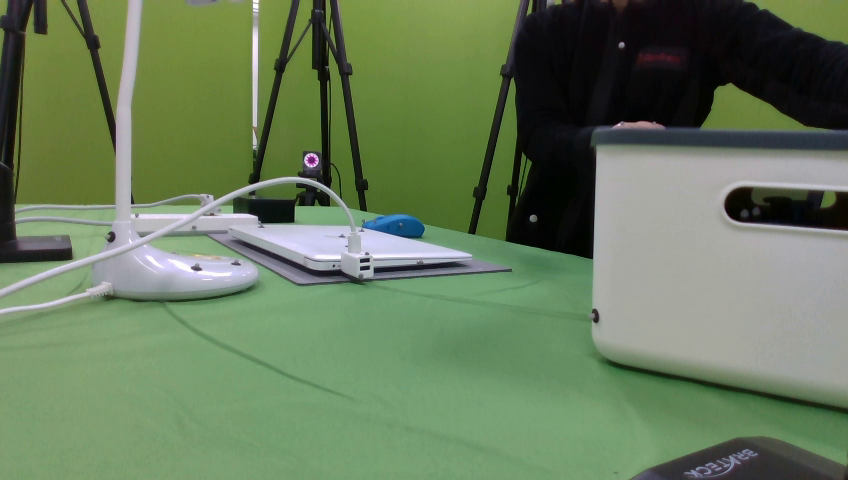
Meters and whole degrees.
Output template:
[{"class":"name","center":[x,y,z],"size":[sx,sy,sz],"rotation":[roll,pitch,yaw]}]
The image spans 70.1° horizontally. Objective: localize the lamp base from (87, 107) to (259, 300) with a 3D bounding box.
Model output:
[{"class":"lamp base","center":[-0.254,-0.039,0.603],"size":[0.160,0.180,0.179],"rotation":[5,10,18]}]

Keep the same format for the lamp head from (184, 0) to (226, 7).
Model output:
[{"class":"lamp head","center":[-0.229,-0.320,0.627],"size":[0.112,0.112,0.123],"rotation":[6,-35,26]}]

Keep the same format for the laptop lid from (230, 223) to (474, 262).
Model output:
[{"class":"laptop lid","center":[-0.121,0.000,0.888],"size":[0.243,0.013,0.355],"rotation":[1,7,-33]}]

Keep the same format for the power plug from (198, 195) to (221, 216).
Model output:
[{"class":"power plug","center":[-0.386,-0.055,1.088],"size":[0.035,0.052,0.072],"rotation":[-1,6,-24]}]

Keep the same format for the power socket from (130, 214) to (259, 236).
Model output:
[{"class":"power socket","center":[-0.397,-0.028,1.048],"size":[0.228,0.032,0.072],"rotation":[-3,7,-35]}]

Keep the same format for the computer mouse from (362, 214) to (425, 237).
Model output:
[{"class":"computer mouse","center":[-0.057,-0.028,1.139],"size":[0.118,0.041,0.062],"rotation":[-2,9,-20]}]

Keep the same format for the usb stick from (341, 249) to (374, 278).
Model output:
[{"class":"usb stick","center":[-0.078,0.026,0.686],"size":[0.021,0.027,0.059],"rotation":[-8,8,-30]}]

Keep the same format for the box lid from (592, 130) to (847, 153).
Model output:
[{"class":"box lid","center":[0.311,-0.068,0.498],"size":[0.262,0.015,0.373],"rotation":[7,7,30]}]

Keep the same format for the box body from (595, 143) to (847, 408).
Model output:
[{"class":"box body","center":[0.309,0.007,0.508],"size":[0.253,0.160,0.366],"rotation":[6,8,30]}]

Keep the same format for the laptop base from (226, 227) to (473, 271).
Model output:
[{"class":"laptop base","center":[-0.124,0.011,0.889],"size":[0.237,0.023,0.352],"rotation":[2,6,-35]}]
